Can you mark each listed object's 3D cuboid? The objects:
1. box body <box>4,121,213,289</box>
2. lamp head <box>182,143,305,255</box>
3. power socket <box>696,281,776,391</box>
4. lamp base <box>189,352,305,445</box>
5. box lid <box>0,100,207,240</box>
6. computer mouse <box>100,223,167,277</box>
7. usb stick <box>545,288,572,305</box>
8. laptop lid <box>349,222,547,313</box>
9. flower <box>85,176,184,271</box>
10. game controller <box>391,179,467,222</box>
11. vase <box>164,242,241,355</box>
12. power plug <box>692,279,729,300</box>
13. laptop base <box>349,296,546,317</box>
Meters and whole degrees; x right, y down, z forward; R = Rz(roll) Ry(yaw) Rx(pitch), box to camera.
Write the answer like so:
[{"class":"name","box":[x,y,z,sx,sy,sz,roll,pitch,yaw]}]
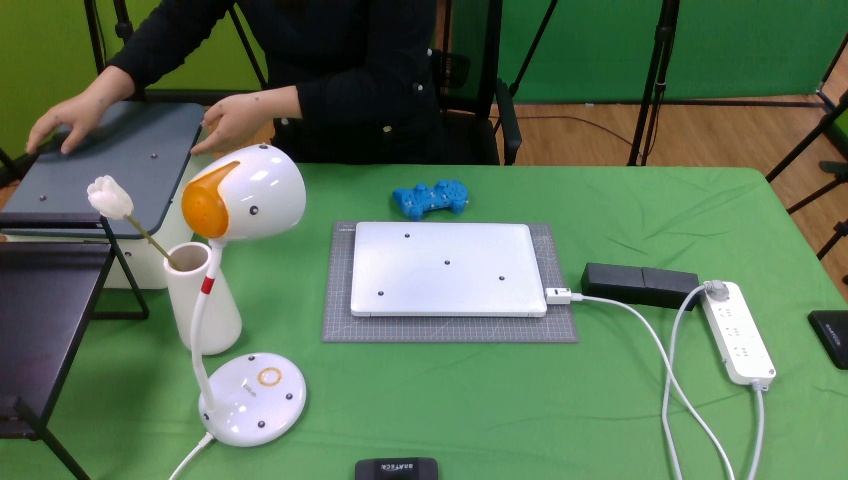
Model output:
[{"class":"box body","box":[-0.563,-0.086,1.139,0.254,0.161,0.361,2,46,-3]},{"class":"lamp head","box":[-0.216,-0.044,0.697,0.112,0.113,0.123,23,31,17]},{"class":"power socket","box":[0.550,0.160,1.078,0.072,0.033,0.225,2,47,-1]},{"class":"lamp base","box":[-0.268,0.196,0.876,0.160,0.181,0.179,26,52,20]},{"class":"box lid","box":[-0.559,-0.137,1.084,0.263,0.015,0.369,2,46,-2]},{"class":"computer mouse","box":[-0.539,0.014,1.123,0.062,0.041,0.117,30,57,18]},{"class":"usb stick","box":[0.236,0.102,1.101,0.059,0.027,0.021,-2,47,1]},{"class":"laptop lid","box":[0.041,0.045,1.143,0.357,0.013,0.240,2,44,-3]},{"class":"flower","box":[-0.365,0.038,0.894,0.038,0.364,0.044,-6,53,14]},{"class":"game controller","box":[0.016,-0.094,1.273,0.155,0.052,0.096,-11,53,-14]},{"class":"vase","box":[-0.349,0.096,0.954,0.098,0.201,0.097,3,47,-3]},{"class":"power plug","box":[0.522,0.092,1.115,0.072,0.053,0.035,9,47,7]},{"class":"laptop base","box":[0.041,0.055,1.149,0.355,0.023,0.234,1,42,-4]}]
